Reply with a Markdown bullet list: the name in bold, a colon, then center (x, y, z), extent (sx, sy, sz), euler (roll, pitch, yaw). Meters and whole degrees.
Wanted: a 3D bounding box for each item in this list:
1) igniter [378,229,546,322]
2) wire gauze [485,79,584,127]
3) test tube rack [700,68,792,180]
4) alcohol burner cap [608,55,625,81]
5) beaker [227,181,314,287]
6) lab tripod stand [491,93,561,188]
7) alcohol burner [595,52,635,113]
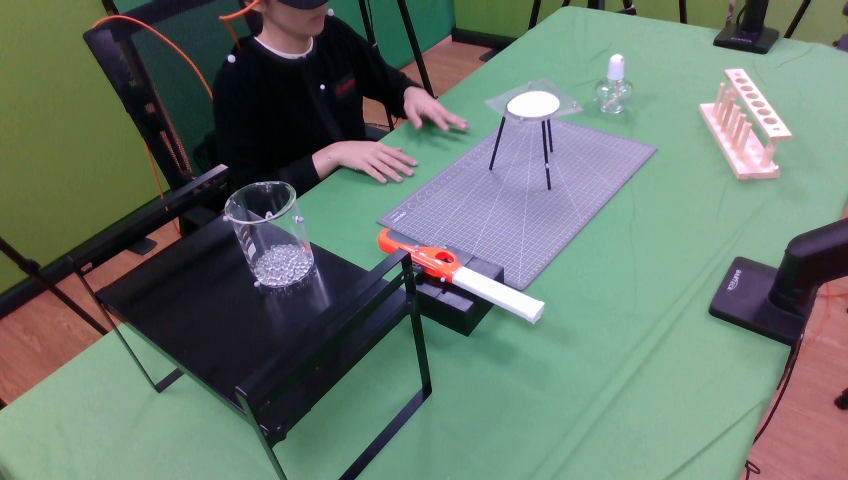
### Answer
- **igniter**: center (0.041, 0.043, 0.843), extent (0.274, 0.025, 0.057), euler (24, 47, 29)
- **wire gauze**: center (0.185, -0.232, 1.023), extent (0.125, 0.011, 0.120), euler (-20, 42, -12)
- **test tube rack**: center (0.572, -0.215, 1.090), extent (0.066, 0.085, 0.241), euler (-3, 41, 7)
- **alcohol burner cap**: center (0.383, -0.343, 1.198), extent (0.034, 0.048, 0.033), euler (-5, 41, 5)
- **beaker**: center (-0.166, -0.006, 0.670), extent (0.074, 0.101, 0.083), euler (-8, 40, 0)
- **lab tripod stand**: center (0.189, -0.180, 1.066), extent (0.148, 0.132, 0.147), euler (-5, 42, 5)
- **alcohol burner**: center (0.386, -0.319, 1.217), extent (0.078, 0.119, 0.077), euler (-5, 39, 4)
